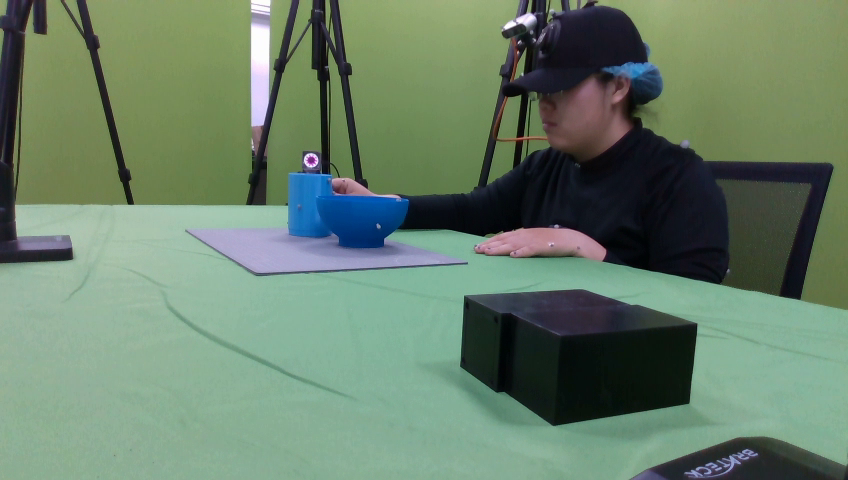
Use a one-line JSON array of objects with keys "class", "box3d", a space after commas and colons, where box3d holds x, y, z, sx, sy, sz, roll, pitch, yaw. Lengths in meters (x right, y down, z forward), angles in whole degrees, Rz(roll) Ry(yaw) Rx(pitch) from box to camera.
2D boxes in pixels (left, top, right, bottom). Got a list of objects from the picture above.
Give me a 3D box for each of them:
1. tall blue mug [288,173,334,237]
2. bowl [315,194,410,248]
[{"class": "tall blue mug", "box3d": [-0.203, -0.066, 1.089, 0.078, 0.108, 0.107, 1, 8, -6]}, {"class": "bowl", "box3d": [-0.100, -0.030, 0.971, 0.151, 0.077, 0.151, 2, 7, 0]}]
